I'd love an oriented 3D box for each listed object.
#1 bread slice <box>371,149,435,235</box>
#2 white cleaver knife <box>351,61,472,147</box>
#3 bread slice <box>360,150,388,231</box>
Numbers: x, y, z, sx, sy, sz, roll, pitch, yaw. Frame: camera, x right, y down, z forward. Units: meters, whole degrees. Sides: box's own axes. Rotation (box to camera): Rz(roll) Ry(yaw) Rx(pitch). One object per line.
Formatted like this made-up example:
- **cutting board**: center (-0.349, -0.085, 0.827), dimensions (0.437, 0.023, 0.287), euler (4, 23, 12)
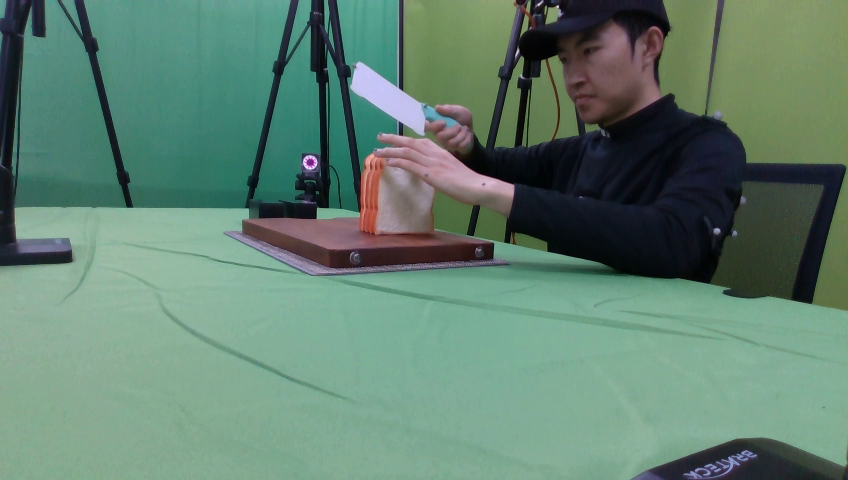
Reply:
- **bread slice**: center (-0.032, -0.073, 0.936), dimensions (0.107, 0.134, 0.018), euler (-3, 7, -31)
- **white cleaver knife**: center (-0.016, -0.217, 1.038), dimensions (0.021, 0.066, 0.288), euler (-14, -26, 43)
- **bread slice**: center (-0.055, -0.080, 0.986), dimensions (0.105, 0.131, 0.019), euler (0, 1, -31)
